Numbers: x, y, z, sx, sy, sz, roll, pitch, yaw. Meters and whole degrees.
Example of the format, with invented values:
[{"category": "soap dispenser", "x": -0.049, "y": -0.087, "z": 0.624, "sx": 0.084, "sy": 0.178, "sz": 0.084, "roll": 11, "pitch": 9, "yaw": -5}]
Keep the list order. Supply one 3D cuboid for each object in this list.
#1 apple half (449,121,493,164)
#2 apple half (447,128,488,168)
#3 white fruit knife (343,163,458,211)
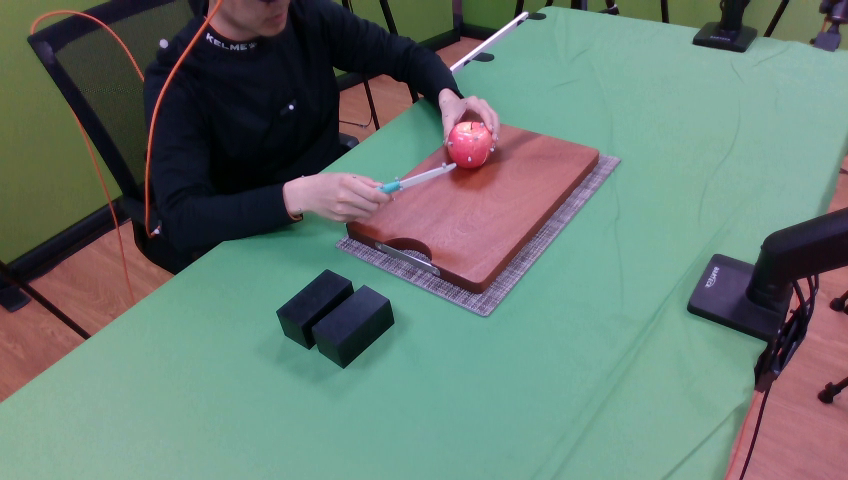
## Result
[{"category": "apple half", "x": 0.089, "y": -0.176, "z": 1.077, "sx": 0.080, "sy": 0.075, "sz": 0.053, "roll": 13, "pitch": 42, "yaw": 26}, {"category": "apple half", "x": 0.071, "y": -0.153, "z": 1.052, "sx": 0.081, "sy": 0.081, "sz": 0.033, "roll": 15, "pitch": 43, "yaw": 24}, {"category": "white fruit knife", "x": -0.041, "y": -0.084, "z": 0.936, "sx": 0.206, "sy": 0.027, "sz": 0.016, "roll": -19, "pitch": 66, "yaw": 21}]
